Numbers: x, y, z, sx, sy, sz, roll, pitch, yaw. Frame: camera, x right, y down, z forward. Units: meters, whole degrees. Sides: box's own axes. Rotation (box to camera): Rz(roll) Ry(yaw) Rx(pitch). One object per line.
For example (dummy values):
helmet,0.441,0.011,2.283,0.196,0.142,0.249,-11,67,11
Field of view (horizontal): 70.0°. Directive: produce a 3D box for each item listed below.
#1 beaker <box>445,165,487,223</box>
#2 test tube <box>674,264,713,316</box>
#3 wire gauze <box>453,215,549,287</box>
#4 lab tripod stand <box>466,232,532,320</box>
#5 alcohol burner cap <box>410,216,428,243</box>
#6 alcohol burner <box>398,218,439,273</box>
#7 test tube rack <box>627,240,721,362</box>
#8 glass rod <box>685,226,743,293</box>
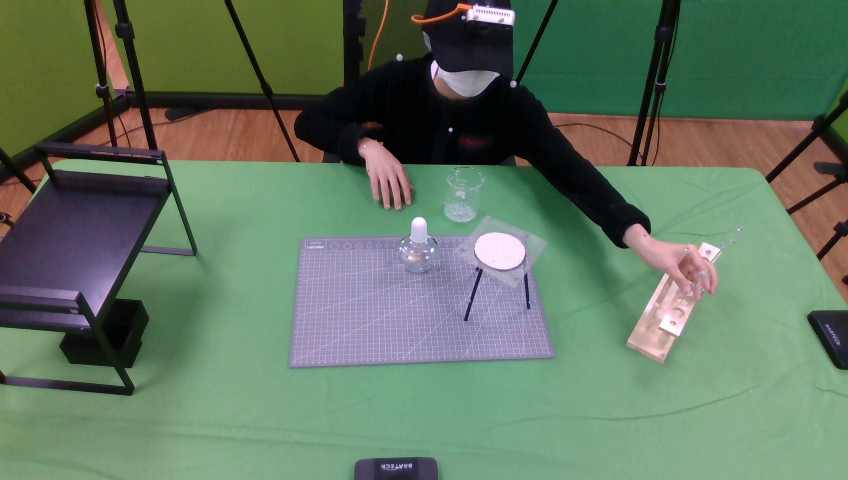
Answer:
beaker,0.082,-0.091,1.237,0.084,0.101,0.073,-7,48,-11
test tube,0.444,0.093,1.012,0.017,0.151,0.017,3,48,-4
wire gauze,0.129,0.012,1.017,0.124,0.011,0.121,28,50,23
lab tripod stand,0.125,0.059,1.065,0.148,0.132,0.147,1,45,0
alcohol burner cap,-0.009,-0.022,1.099,0.034,0.048,0.033,2,42,-1
alcohol burner,-0.010,0.004,1.124,0.078,0.120,0.077,1,47,-1
test tube rack,0.452,0.098,1.087,0.066,0.085,0.242,28,51,22
glass rod,0.500,0.039,1.054,0.008,0.200,0.008,4,52,-5
